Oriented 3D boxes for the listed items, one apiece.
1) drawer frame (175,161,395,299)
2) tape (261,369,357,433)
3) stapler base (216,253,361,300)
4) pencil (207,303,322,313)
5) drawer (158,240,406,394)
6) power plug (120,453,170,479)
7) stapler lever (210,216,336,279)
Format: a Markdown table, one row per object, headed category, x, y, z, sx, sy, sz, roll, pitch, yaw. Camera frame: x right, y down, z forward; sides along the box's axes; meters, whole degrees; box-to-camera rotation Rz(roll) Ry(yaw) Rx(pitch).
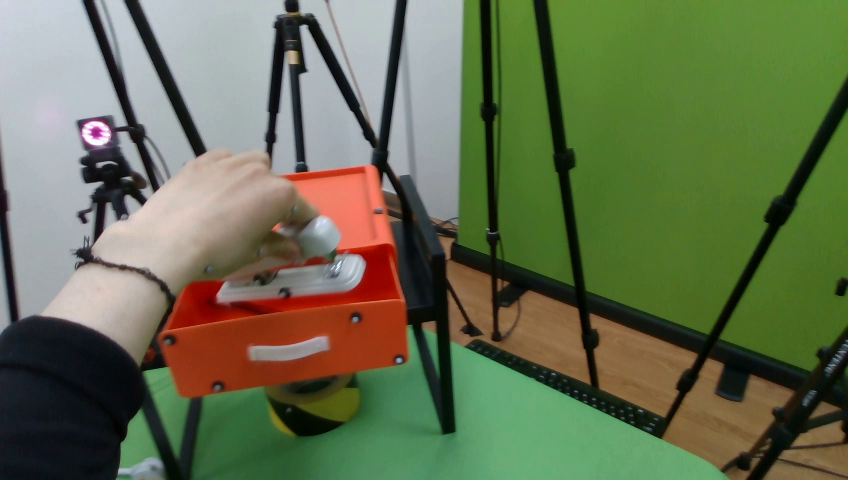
| category | x | y | z | sx | sy | sz | roll | pitch | yaw |
| --- | --- | --- | --- | --- | --- | --- | --- | --- | --- |
| drawer frame | -0.143 | -0.004 | 0.665 | 0.202 | 0.083 | 0.211 | -8 | 29 | -7 |
| tape | -0.139 | 0.175 | 0.743 | 0.117 | 0.053 | 0.116 | -3 | 30 | 2 |
| stapler base | -0.121 | 0.026 | 0.523 | 0.130 | 0.025 | 0.041 | -7 | 35 | 16 |
| pencil | -0.141 | 0.065 | 0.583 | 0.193 | 0.012 | 0.012 | -4 | 27 | 24 |
| drawer | -0.127 | 0.042 | 0.586 | 0.195 | 0.074 | 0.209 | -8 | 29 | -6 |
| power plug | -0.304 | 0.260 | 0.651 | 0.072 | 0.035 | 0.052 | -36 | 17 | 20 |
| stapler lever | -0.129 | 0.007 | 0.507 | 0.118 | 0.040 | 0.026 | -8 | 35 | 16 |
